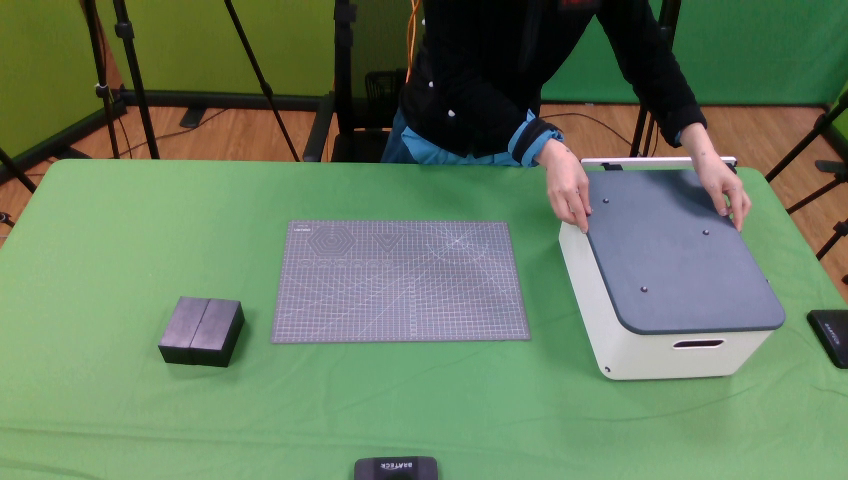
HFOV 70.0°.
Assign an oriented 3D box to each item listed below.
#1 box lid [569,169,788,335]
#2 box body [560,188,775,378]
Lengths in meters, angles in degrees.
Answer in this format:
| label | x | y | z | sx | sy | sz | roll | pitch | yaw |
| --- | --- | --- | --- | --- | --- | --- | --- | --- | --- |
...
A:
| label | x | y | z | sx | sy | sz | roll | pitch | yaw |
| --- | --- | --- | --- | --- | --- | --- | --- | --- | --- |
| box lid | 0.408 | 0.004 | 1.015 | 0.263 | 0.015 | 0.369 | -2 | 46 | -4 |
| box body | 0.405 | 0.057 | 1.074 | 0.254 | 0.161 | 0.361 | -2 | 46 | -5 |
